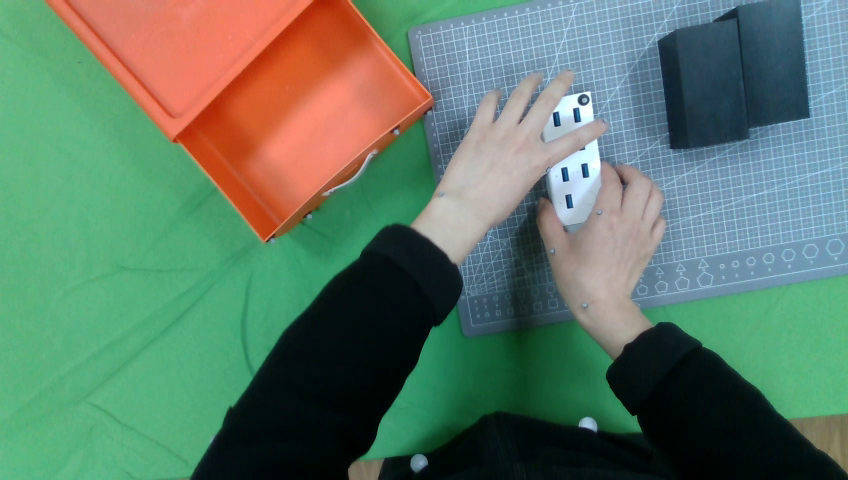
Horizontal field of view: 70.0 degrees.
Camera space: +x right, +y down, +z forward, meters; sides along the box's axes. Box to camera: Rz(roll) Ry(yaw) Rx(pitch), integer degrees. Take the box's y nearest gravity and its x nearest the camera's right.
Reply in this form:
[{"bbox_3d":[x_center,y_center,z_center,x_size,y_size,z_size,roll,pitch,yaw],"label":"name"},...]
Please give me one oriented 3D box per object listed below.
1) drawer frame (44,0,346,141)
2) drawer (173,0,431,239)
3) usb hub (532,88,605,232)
[{"bbox_3d":[-0.209,-0.230,0.526,0.202,0.082,0.214,-42,93,8],"label":"drawer frame"},{"bbox_3d":[-0.132,-0.142,0.538,0.194,0.073,0.212,-39,94,8],"label":"drawer"},{"bbox_3d":[0.134,-0.072,0.559,0.049,0.025,0.125,-10,98,4],"label":"usb hub"}]
